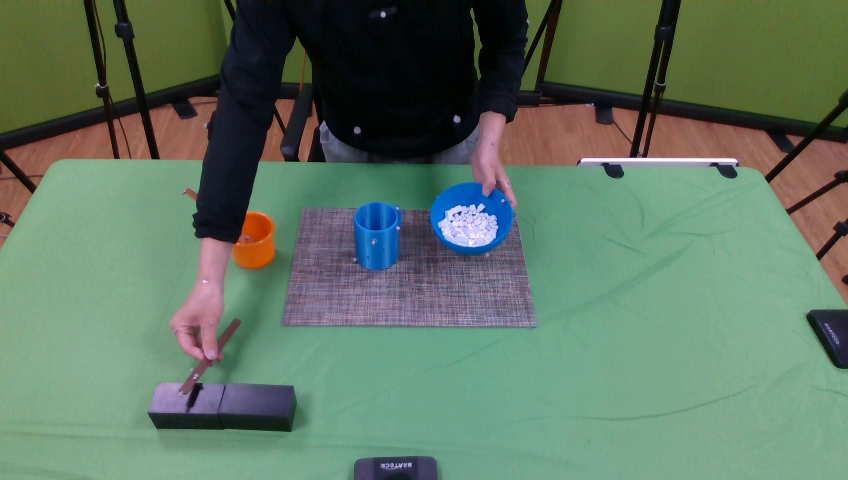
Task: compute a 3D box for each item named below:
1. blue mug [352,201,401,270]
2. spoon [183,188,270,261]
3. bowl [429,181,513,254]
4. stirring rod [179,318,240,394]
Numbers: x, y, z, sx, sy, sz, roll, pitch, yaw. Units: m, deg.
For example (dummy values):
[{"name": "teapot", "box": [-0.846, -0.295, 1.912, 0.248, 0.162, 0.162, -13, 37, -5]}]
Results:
[{"name": "blue mug", "box": [-0.082, -0.017, 1.144, 0.082, 0.106, 0.116, 30, 51, 23]}, {"name": "spoon", "box": [-0.361, -0.029, 1.110, 0.021, 0.194, 0.041, -21, 31, 41]}, {"name": "bowl", "box": [0.086, -0.026, 1.115, 0.151, 0.077, 0.150, -2, 55, 3]}, {"name": "stirring rod", "box": [-0.333, 0.177, 0.950, 0.014, 0.006, 0.175, 26, 32, -3]}]
